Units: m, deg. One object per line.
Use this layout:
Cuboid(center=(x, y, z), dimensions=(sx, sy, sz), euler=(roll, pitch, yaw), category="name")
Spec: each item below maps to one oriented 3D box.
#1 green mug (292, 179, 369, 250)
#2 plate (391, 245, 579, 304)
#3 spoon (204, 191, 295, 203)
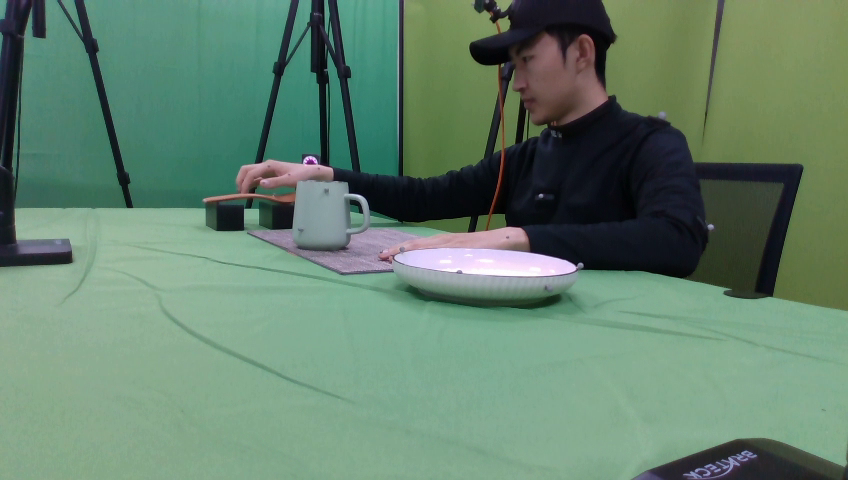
Cuboid(center=(-0.144, -0.040, 0.944), dimensions=(0.125, 0.105, 0.093), euler=(4, 7, 16), category="green mug")
Cuboid(center=(0.066, 0.038, 0.683), dimensions=(0.209, 0.038, 0.209), euler=(2, 7, 0), category="plate")
Cuboid(center=(-0.339, -0.086, 1.208), dimensions=(0.195, 0.021, 0.041), euler=(-3, 29, -30), category="spoon")
